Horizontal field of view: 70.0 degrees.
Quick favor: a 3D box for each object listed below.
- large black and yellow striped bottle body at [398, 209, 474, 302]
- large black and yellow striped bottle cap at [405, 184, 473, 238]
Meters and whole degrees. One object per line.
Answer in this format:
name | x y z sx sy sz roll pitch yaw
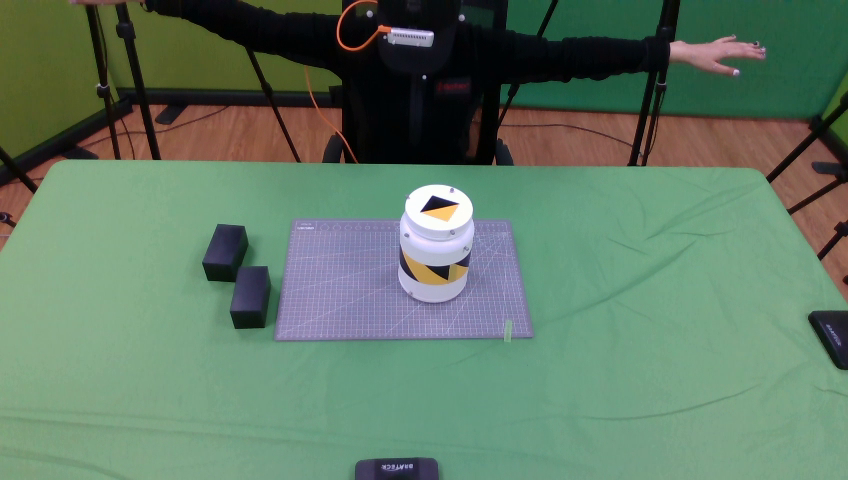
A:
large black and yellow striped bottle body | 0.020 0.008 1.074 0.131 0.185 0.130 2 46 -2
large black and yellow striped bottle cap | 0.025 -0.051 1.014 0.115 0.019 0.114 2 48 -2
